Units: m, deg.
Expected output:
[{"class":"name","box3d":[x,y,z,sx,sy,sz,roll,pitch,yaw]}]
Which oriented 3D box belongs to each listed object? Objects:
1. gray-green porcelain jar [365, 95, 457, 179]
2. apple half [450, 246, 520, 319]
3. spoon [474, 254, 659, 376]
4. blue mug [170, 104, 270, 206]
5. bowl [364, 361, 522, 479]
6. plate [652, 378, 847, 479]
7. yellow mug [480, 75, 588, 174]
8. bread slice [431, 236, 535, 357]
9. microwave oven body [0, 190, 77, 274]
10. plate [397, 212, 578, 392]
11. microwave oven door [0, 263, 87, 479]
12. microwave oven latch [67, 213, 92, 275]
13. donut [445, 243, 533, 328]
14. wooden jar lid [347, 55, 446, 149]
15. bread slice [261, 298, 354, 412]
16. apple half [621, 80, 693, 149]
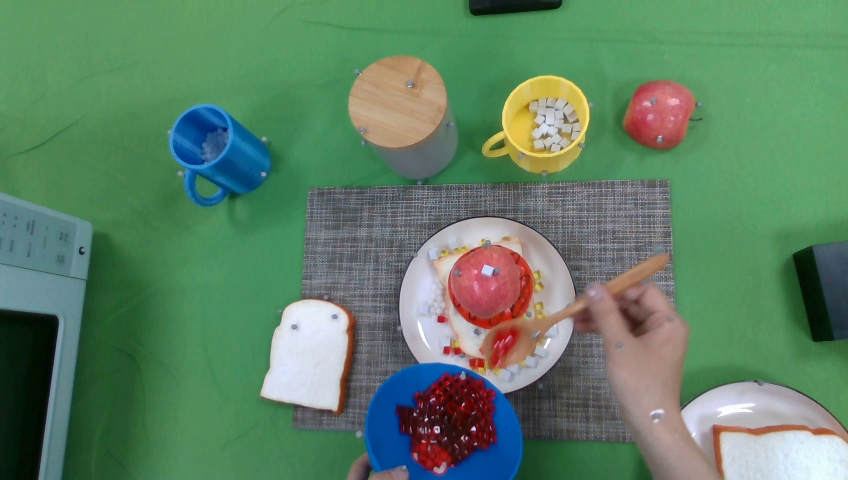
[{"class":"gray-green porcelain jar","box3d":[-0.017,-0.136,0.722,0.105,0.127,0.105,-2,78,9]},{"class":"apple half","box3d":[0.065,0.043,0.649,0.081,0.033,0.081,-5,74,16]},{"class":"spoon","box3d":[0.124,0.068,0.542,0.194,0.022,0.041,-36,79,27]},{"class":"blue mug","box3d":[-0.262,-0.098,0.767,0.082,0.106,0.116,20,83,13]},{"class":"bowl","box3d":[0.013,0.202,0.588,0.152,0.077,0.150,8,42,-6]},{"class":"plate","box3d":[0.345,0.250,0.633,0.209,0.038,0.208,-2,79,10]},{"class":"yellow mug","box3d":[0.129,-0.131,0.727,0.131,0.064,0.099,-23,76,6]},{"class":"bread slice","box3d":[0.078,0.070,0.708,0.107,0.018,0.133,-17,79,7]},{"class":"microwave oven body","box3d":[-0.629,0.161,0.697,0.325,0.261,0.440,0,80,9]},{"class":"plate","box3d":[0.073,0.072,0.709,0.207,0.039,0.206,-2,79,9]},{"class":"microwave oven door","box3d":[-0.487,0.201,0.660,0.039,0.245,0.354,0,79,10]},{"class":"microwave oven latch","box3d":[-0.462,0.005,0.797,0.030,0.029,0.079,4,81,10]},{"class":"donut","box3d":[0.073,0.051,0.684,0.099,0.048,0.098,-2,80,10]},{"class":"wooden jar lid","box3d":[-0.029,-0.148,0.660,0.108,0.021,0.108,-2,77,7]},{"class":"bread slice","box3d":[-0.141,0.137,0.745,0.104,0.019,0.131,7,82,10]},{"class":"apple half","box3d":[0.276,-0.154,0.713,0.074,0.053,0.080,22,84,16]}]
